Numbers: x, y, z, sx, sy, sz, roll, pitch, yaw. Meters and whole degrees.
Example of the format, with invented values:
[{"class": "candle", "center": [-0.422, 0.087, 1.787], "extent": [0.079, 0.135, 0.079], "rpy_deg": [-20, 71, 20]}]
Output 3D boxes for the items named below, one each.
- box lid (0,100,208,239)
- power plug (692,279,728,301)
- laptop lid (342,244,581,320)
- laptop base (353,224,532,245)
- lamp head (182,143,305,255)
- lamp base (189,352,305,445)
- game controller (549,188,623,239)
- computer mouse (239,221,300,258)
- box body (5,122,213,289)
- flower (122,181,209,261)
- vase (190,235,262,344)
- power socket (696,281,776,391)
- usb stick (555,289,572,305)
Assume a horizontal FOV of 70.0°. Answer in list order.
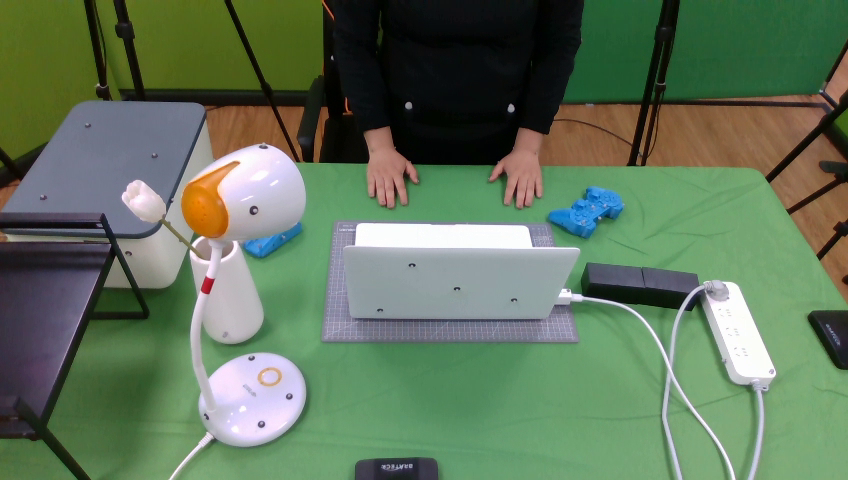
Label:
[{"class": "box lid", "center": [-0.559, -0.138, 1.085], "extent": [0.263, 0.015, 0.369], "rpy_deg": [2, 46, -2]}, {"class": "power plug", "center": [0.522, 0.092, 1.115], "extent": [0.072, 0.053, 0.035], "rpy_deg": [9, 46, 7]}, {"class": "laptop lid", "center": [0.051, 0.074, 0.969], "extent": [0.357, 0.243, 0.013], "rpy_deg": [1, 56, -5]}, {"class": "laptop base", "center": [0.040, 0.056, 1.149], "extent": [0.355, 0.023, 0.234], "rpy_deg": [1, 43, -4]}, {"class": "lamp head", "center": [-0.216, -0.044, 0.697], "extent": [0.112, 0.113, 0.123], "rpy_deg": [23, 31, 17]}, {"class": "lamp base", "center": [-0.268, 0.196, 0.876], "extent": [0.160, 0.181, 0.179], "rpy_deg": [25, 52, 19]}, {"class": "game controller", "center": [0.345, -0.065, 1.272], "extent": [0.155, 0.052, 0.096], "rpy_deg": [-31, 58, -29]}, {"class": "computer mouse", "center": [-0.300, -0.016, 1.178], "extent": [0.062, 0.041, 0.117], "rpy_deg": [35, 58, 23]}, {"class": "box body", "center": [-0.563, -0.088, 1.140], "extent": [0.254, 0.161, 0.361], "rpy_deg": [2, 46, -3]}, {"class": "flower", "center": [-0.329, 0.029, 0.905], "extent": [0.038, 0.364, 0.044], "rpy_deg": [-21, 58, -1]}, {"class": "vase", "center": [-0.317, 0.081, 0.971], "extent": [0.098, 0.201, 0.097], "rpy_deg": [3, 47, -3]}, {"class": "power socket", "center": [0.550, 0.160, 1.078], "extent": [0.072, 0.033, 0.225], "rpy_deg": [2, 46, -1]}, {"class": "usb stick", "center": [0.236, 0.103, 1.101], "extent": [0.059, 0.027, 0.021], "rpy_deg": [0, 48, 1]}]
